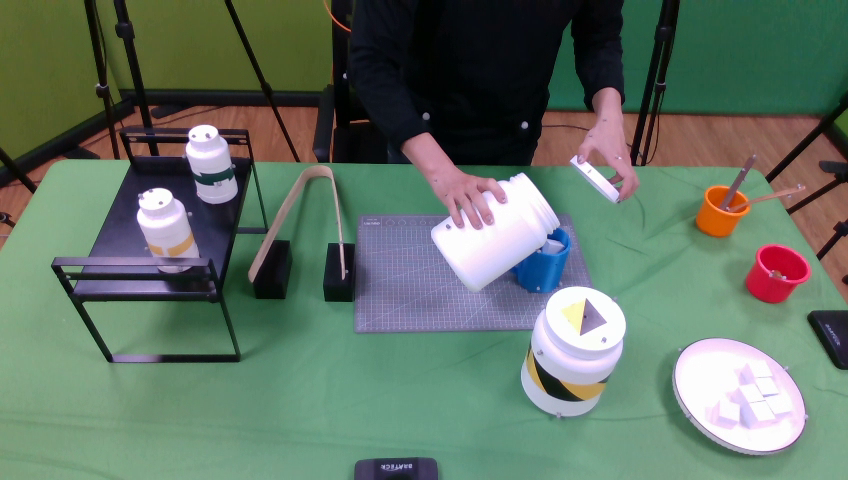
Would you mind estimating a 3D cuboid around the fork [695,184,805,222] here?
[{"bbox_3d":[0.657,-0.075,1.230,0.207,0.019,0.028,-23,34,37],"label":"fork"}]

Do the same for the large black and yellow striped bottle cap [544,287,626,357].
[{"bbox_3d":[0.232,0.116,0.876,0.115,0.019,0.114,2,46,-1],"label":"large black and yellow striped bottle cap"}]

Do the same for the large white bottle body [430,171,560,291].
[{"bbox_3d":[0.118,-0.017,0.998,0.184,0.131,0.129,-35,52,6],"label":"large white bottle body"}]

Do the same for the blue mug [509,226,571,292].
[{"bbox_3d":[0.203,0.031,1.121,0.116,0.106,0.082,5,46,0],"label":"blue mug"}]

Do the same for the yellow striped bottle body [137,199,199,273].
[{"bbox_3d":[-0.366,-0.014,0.863,0.063,0.121,0.062,2,46,-2],"label":"yellow striped bottle body"}]

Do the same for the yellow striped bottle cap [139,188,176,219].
[{"bbox_3d":[-0.363,-0.050,0.826,0.044,0.019,0.044,1,47,0],"label":"yellow striped bottle cap"}]

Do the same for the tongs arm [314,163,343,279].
[{"bbox_3d":[-0.188,-0.049,1.170,0.051,0.026,0.382,-6,35,-6],"label":"tongs arm"}]

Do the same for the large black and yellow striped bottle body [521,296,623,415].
[{"bbox_3d":[0.228,0.173,0.938,0.131,0.185,0.130,2,47,-2],"label":"large black and yellow striped bottle body"}]

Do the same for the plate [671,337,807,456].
[{"bbox_3d":[0.503,0.254,0.984,0.208,0.039,0.206,2,46,-2],"label":"plate"}]

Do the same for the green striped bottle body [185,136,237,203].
[{"bbox_3d":[-0.341,-0.122,0.968,0.063,0.120,0.063,2,46,-2],"label":"green striped bottle body"}]

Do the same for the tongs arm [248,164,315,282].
[{"bbox_3d":[-0.270,-0.047,1.166,0.028,0.028,0.385,-1,34,7],"label":"tongs arm"}]

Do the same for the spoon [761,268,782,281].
[{"bbox_3d":[0.638,0.060,1.105,0.041,0.021,0.194,38,11,24],"label":"spoon"}]

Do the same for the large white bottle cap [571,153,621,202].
[{"bbox_3d":[0.315,-0.116,1.113,0.018,0.115,0.114,-46,52,14],"label":"large white bottle cap"}]

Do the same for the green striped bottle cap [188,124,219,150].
[{"bbox_3d":[-0.339,-0.158,0.931,0.044,0.020,0.044,4,46,-4],"label":"green striped bottle cap"}]

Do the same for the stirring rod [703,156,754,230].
[{"bbox_3d":[0.631,-0.097,1.258,0.014,0.006,0.176,33,95,29],"label":"stirring rod"}]
